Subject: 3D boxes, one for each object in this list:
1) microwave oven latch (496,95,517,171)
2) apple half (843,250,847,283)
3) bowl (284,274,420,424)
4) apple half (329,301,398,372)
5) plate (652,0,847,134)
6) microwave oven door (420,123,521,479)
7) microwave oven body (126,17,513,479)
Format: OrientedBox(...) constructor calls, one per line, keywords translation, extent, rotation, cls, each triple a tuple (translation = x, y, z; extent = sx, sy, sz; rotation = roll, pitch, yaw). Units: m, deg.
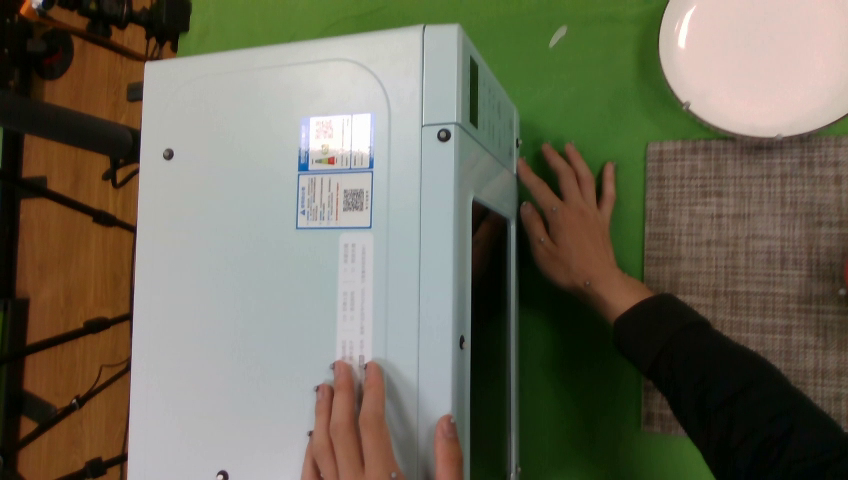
OrientedBox(translation=(0.086, -0.114, 0.655), extent=(0.030, 0.029, 0.079), rotation=(0, 87, 19), cls="microwave oven latch")
OrientedBox(translation=(0.401, 0.027, 0.531), extent=(0.053, 0.075, 0.080), rotation=(-21, 83, 23), cls="apple half")
OrientedBox(translation=(-0.062, 0.105, 0.633), extent=(0.150, 0.077, 0.151), rotation=(3, 97, 25), cls="bowl")
OrientedBox(translation=(-0.066, 0.105, 0.623), extent=(0.081, 0.033, 0.081), rotation=(3, 102, 16), cls="apple half")
OrientedBox(translation=(0.333, -0.203, 0.591), extent=(0.207, 0.039, 0.207), rotation=(-1, 87, 19), cls="plate")
OrientedBox(translation=(0.047, 0.097, 0.548), extent=(0.039, 0.245, 0.355), rotation=(-1, 86, 20), cls="microwave oven door")
OrientedBox(translation=(-0.088, 0.057, 0.604), extent=(0.325, 0.261, 0.441), rotation=(-1, 87, 19), cls="microwave oven body")
